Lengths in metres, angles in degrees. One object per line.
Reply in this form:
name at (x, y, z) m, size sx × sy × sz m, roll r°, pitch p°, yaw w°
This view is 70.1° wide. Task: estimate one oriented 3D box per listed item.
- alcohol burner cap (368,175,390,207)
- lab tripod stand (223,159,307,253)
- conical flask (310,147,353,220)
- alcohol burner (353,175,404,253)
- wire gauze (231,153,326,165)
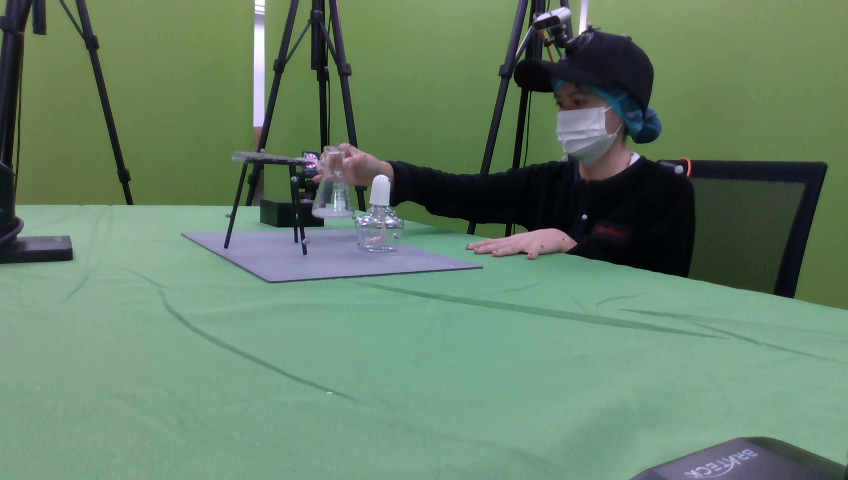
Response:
alcohol burner cap at (-0.067, -0.075, 0.923) m, size 0.034 × 0.048 × 0.034 m, roll 8°, pitch 11°, yaw -1°
lab tripod stand at (-0.220, -0.053, 0.896) m, size 0.148 × 0.131 × 0.148 m, roll 1°, pitch 6°, yaw 0°
conical flask at (-0.158, -0.098, 1.042) m, size 0.075 × 0.122 × 0.075 m, roll 2°, pitch 7°, yaw 0°
alcohol burner at (-0.069, -0.040, 0.926) m, size 0.078 × 0.119 × 0.078 m, roll 1°, pitch 9°, yaw 0°
wire gauze at (-0.215, -0.118, 0.881) m, size 0.125 × 0.011 × 0.121 m, roll 1°, pitch 7°, yaw -19°
